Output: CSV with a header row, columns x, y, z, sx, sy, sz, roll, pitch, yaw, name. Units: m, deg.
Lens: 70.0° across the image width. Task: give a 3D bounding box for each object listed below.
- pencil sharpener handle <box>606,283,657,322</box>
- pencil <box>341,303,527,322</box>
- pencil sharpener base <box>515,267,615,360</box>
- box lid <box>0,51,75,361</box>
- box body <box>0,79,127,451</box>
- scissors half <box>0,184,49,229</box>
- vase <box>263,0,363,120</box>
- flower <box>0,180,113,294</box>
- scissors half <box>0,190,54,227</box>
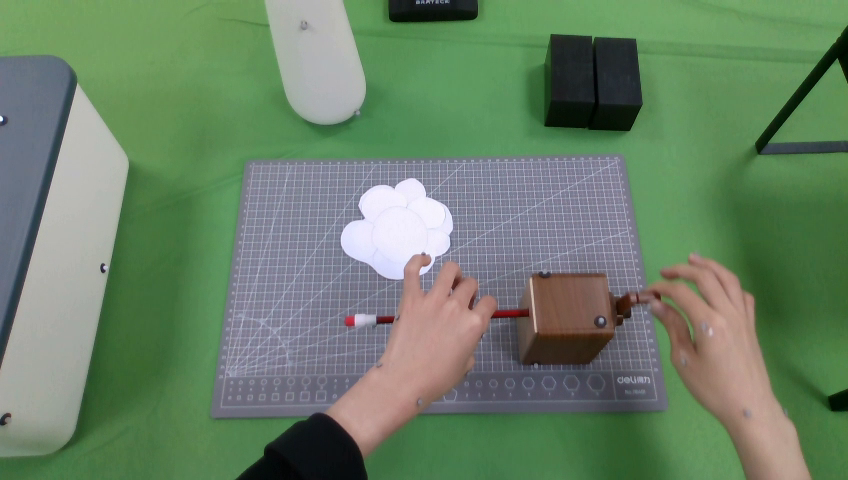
x,y,z,sx,sy,sz,roll,pitch,yaw,name
0.183,0.054,0.541,0.030,0.068,0.035,-1,67,0,pencil sharpener handle
0.022,0.065,0.552,0.194,0.012,0.012,-2,65,-4,pencil
0.132,0.073,0.580,0.077,0.108,0.061,-1,64,0,pencil sharpener base
-0.463,-0.017,0.516,0.263,0.015,0.368,-2,65,-2,box lid
-0.462,0.017,0.584,0.254,0.161,0.361,-2,65,0,box body
-0.496,-0.004,0.675,0.175,0.040,0.012,-34,31,-6,scissors half
-0.125,-0.224,0.673,0.098,0.201,0.097,-1,64,2,vase
-0.459,0.048,0.662,0.038,0.044,0.359,-8,39,32,flower
-0.501,-0.014,0.667,0.175,0.040,0.012,-26,35,-13,scissors half
